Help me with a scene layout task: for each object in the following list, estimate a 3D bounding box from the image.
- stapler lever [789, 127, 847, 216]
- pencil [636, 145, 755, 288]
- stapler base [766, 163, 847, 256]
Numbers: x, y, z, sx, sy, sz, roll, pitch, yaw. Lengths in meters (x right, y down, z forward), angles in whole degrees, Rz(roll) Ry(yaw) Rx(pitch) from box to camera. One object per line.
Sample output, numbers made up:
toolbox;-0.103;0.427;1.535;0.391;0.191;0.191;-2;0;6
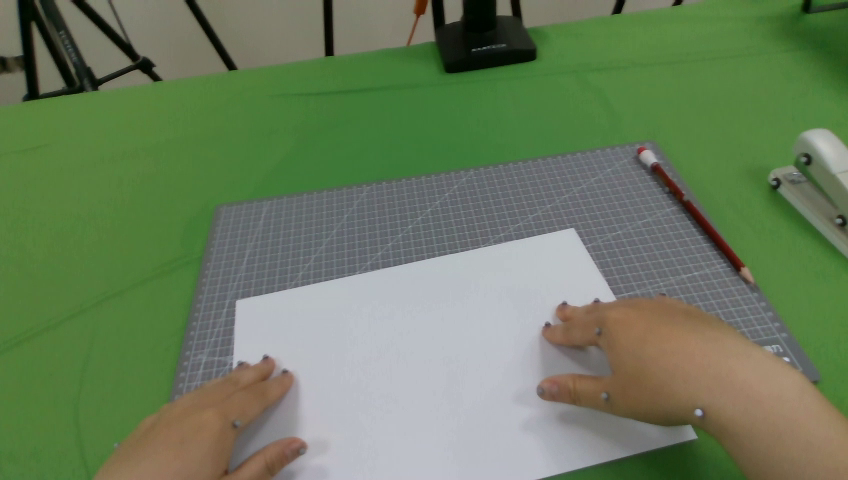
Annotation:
stapler lever;0.345;-0.049;0.496;0.027;0.040;0.116;-14;45;-3
pencil;0.234;-0.028;0.533;0.012;0.012;0.192;-12;44;-5
stapler base;0.347;-0.031;0.515;0.041;0.025;0.129;-14;44;-3
